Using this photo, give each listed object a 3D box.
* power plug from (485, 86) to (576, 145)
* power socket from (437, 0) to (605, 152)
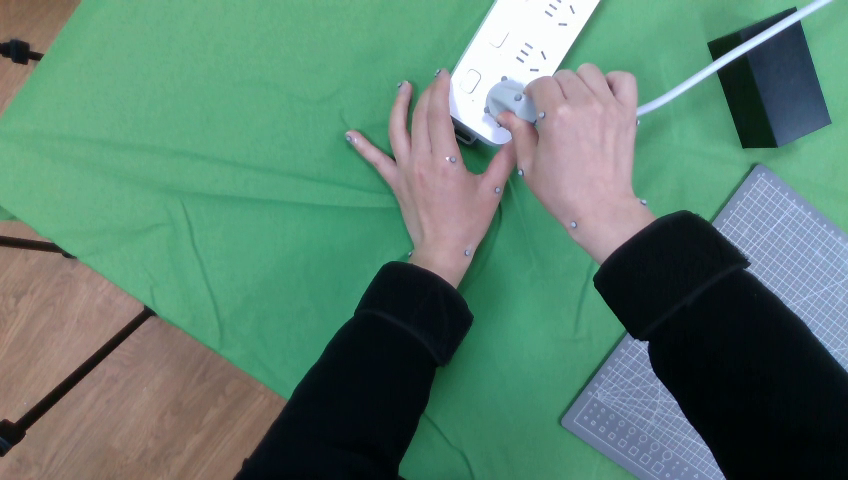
[{"bbox_3d":[0.080,-0.093,0.489,0.073,0.052,0.035,43,92,-15],"label":"power plug"},{"bbox_3d":[0.092,-0.175,0.500,0.072,0.032,0.227,32,94,-9],"label":"power socket"}]
